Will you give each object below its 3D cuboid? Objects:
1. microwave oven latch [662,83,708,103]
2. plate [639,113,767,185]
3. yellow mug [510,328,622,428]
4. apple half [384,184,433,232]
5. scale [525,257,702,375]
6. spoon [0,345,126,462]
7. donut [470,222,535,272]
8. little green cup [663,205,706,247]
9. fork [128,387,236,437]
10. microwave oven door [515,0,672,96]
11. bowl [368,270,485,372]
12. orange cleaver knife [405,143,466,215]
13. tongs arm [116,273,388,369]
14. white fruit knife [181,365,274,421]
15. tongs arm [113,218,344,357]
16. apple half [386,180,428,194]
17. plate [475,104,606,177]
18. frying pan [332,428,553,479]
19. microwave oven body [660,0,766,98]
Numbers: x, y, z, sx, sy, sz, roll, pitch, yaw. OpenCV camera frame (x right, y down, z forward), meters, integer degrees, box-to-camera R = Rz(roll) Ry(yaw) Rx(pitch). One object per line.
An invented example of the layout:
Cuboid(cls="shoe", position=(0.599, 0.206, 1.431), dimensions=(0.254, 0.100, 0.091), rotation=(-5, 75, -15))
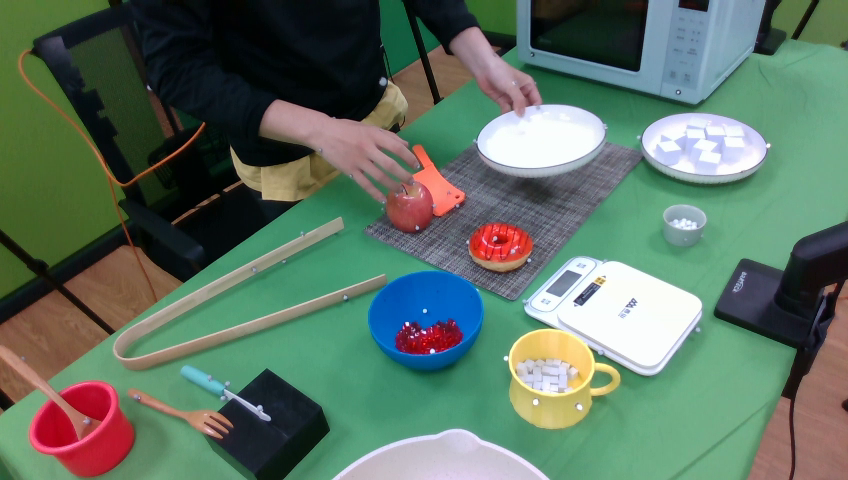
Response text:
Cuboid(cls="microwave oven latch", position=(0.517, -0.296, 1.204), dimensions=(0.078, 0.029, 0.030), rotation=(28, 52, 35))
Cuboid(cls="plate", position=(0.489, -0.157, 1.074), dimensions=(0.207, 0.039, 0.206), rotation=(-4, 40, 4))
Cuboid(cls="yellow mug", position=(0.169, 0.164, 0.722), dimensions=(0.130, 0.064, 0.099), rotation=(0, 40, 8))
Cuboid(cls="apple half", position=(-0.022, -0.046, 0.987), dimensions=(0.081, 0.075, 0.053), rotation=(-8, 44, -5))
Cuboid(cls="scale", position=(0.254, 0.091, 0.821), dimensions=(0.199, 0.032, 0.149), rotation=(28, 51, 35))
Cuboid(cls="spoon", position=(-0.434, 0.192, 0.720), dimensions=(0.194, 0.021, 0.042), rotation=(47, 53, -7))
Cuboid(cls="donut", position=(0.119, 0.009, 0.923), dimensions=(0.099, 0.048, 0.098), rotation=(-4, 37, 4))
Cuboid(cls="little green cup", position=(0.396, -0.020, 0.926), dimensions=(0.061, 0.039, 0.061), rotation=(-4, 40, 4))
Cuboid(cls="fork", position=(-0.305, 0.207, 0.744), dimensions=(0.206, 0.019, 0.028), rotation=(3, 41, 36))
Cuboid(cls="microwave oven door", position=(0.343, -0.455, 1.259), dimensions=(0.353, 0.245, 0.039), rotation=(26, 51, 33))
Cuboid(cls="bowl", position=(0.007, 0.118, 0.791), dimensions=(0.151, 0.077, 0.150), rotation=(-4, 40, 4))
Cuboid(cls="orange cleaver knife", position=(0.005, -0.114, 1.102), dimensions=(0.077, 0.012, 0.209), rotation=(-24, 45, -9))
Cuboid(cls="tongs arm", position=(-0.236, 0.114, 0.869), dimensions=(0.389, 0.028, 0.028), rotation=(-18, 49, -13))
Cuboid(cls="white fruit knife", position=(-0.245, 0.187, 0.747), dimensions=(0.205, 0.027, 0.016), rotation=(9, 41, 40))
Cuboid(cls="tongs arm", position=(-0.280, 0.067, 0.926), dimensions=(0.386, 0.026, 0.050), rotation=(-28, 49, -23))
Cuboid(cls="apple half", position=(-0.028, -0.071, 1.015), dimensions=(0.081, 0.081, 0.032), rotation=(-10, 43, -3))
Cuboid(cls="plate", position=(0.191, -0.160, 0.993), dimensions=(0.209, 0.038, 0.208), rotation=(-7, 37, 6))
Cuboid(cls="frying pan", position=(-0.089, 0.306, 0.564), dimensions=(0.487, 0.103, 0.306), rotation=(10, 41, 7))
Cuboid(cls="microwave oven body", position=(0.472, -0.513, 1.317), dimensions=(0.438, 0.261, 0.327), rotation=(26, 51, 34))
